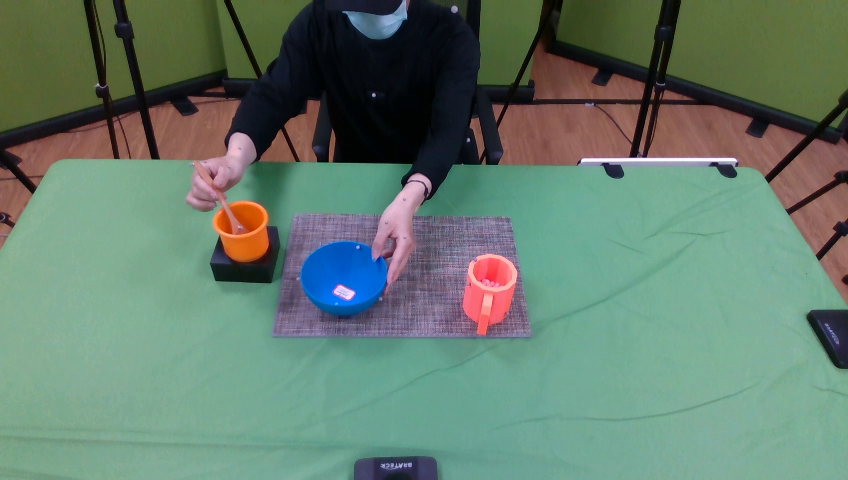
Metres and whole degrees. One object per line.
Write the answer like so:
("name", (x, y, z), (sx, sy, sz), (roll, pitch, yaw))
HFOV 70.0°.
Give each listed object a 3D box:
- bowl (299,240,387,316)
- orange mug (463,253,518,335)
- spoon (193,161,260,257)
("bowl", (-0.140, 0.081, 1.064), (0.151, 0.077, 0.150), (2, 46, -2))
("orange mug", (0.112, 0.098, 1.050), (0.083, 0.101, 0.125), (10, 41, 6))
("spoon", (-0.348, -0.055, 1.067), (0.021, 0.194, 0.041), (-16, 15, 49))
